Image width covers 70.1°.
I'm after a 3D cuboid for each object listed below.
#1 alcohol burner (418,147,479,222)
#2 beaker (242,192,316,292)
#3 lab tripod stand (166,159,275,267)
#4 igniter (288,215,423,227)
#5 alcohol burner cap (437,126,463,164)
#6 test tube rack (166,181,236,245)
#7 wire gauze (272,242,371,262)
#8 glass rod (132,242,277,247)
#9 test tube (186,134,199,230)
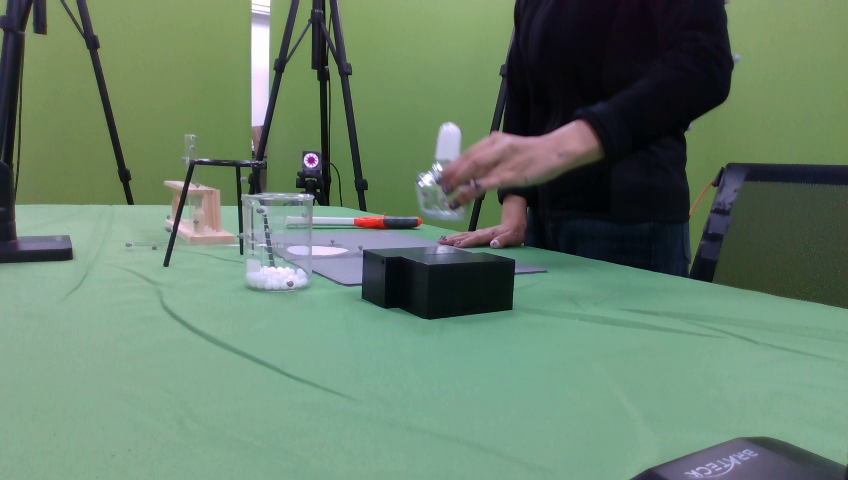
[{"bbox_3d":[0.031,-0.084,0.766,0.078,0.119,0.078,3,8,0],"label":"alcohol burner"},{"bbox_3d":[-0.157,0.000,0.642,0.084,0.100,0.074,4,7,19],"label":"beaker"},{"bbox_3d":[-0.249,-0.036,0.764,0.148,0.131,0.148,2,9,0],"label":"lab tripod stand"},{"bbox_3d":[-0.136,-0.040,1.240,0.278,0.025,0.057,0,-2,-22],"label":"igniter"},{"bbox_3d":[0.035,-0.120,0.763,0.034,0.048,0.034,6,6,0],"label":"alcohol burner cap"},{"bbox_3d":[-0.383,-0.051,1.024,0.067,0.085,0.241,-2,9,-31],"label":"test tube rack"},{"bbox_3d":[-0.155,0.014,0.877,0.122,0.011,0.124,-3,10,-29],"label":"wire gauze"},{"bbox_3d":[-0.316,0.007,0.885,0.201,0.008,0.008,0,7,-27],"label":"glass rod"},{"bbox_3d":[-0.360,-0.089,0.946,0.017,0.150,0.017,0,10,0],"label":"test tube"}]
